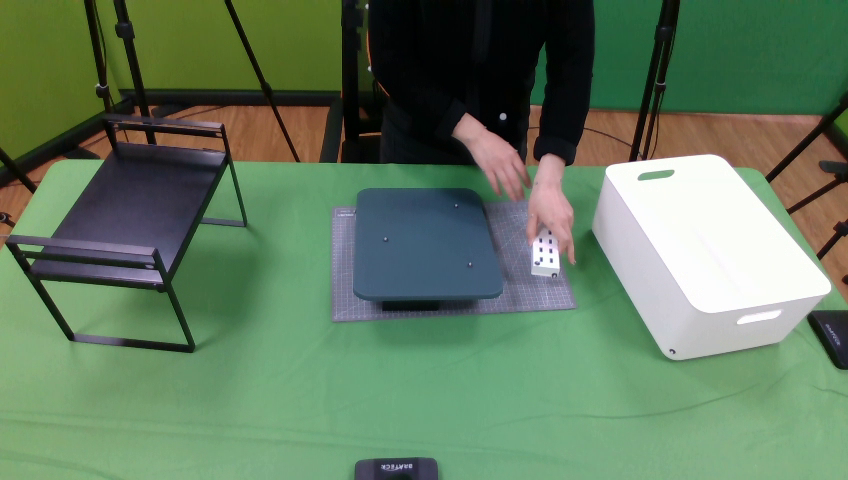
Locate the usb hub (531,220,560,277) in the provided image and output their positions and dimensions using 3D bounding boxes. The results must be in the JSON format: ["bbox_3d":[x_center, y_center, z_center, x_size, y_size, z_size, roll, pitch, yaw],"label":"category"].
[{"bbox_3d":[0.226,0.014,1.130,0.049,0.025,0.124,6,44,3],"label":"usb hub"}]

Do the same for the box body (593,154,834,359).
[{"bbox_3d":[0.497,0.023,1.112,0.254,0.161,0.361,-8,47,-10],"label":"box body"}]

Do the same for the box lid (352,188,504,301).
[{"bbox_3d":[-0.002,-0.006,1.162,0.263,0.015,0.369,0,34,-5],"label":"box lid"}]
